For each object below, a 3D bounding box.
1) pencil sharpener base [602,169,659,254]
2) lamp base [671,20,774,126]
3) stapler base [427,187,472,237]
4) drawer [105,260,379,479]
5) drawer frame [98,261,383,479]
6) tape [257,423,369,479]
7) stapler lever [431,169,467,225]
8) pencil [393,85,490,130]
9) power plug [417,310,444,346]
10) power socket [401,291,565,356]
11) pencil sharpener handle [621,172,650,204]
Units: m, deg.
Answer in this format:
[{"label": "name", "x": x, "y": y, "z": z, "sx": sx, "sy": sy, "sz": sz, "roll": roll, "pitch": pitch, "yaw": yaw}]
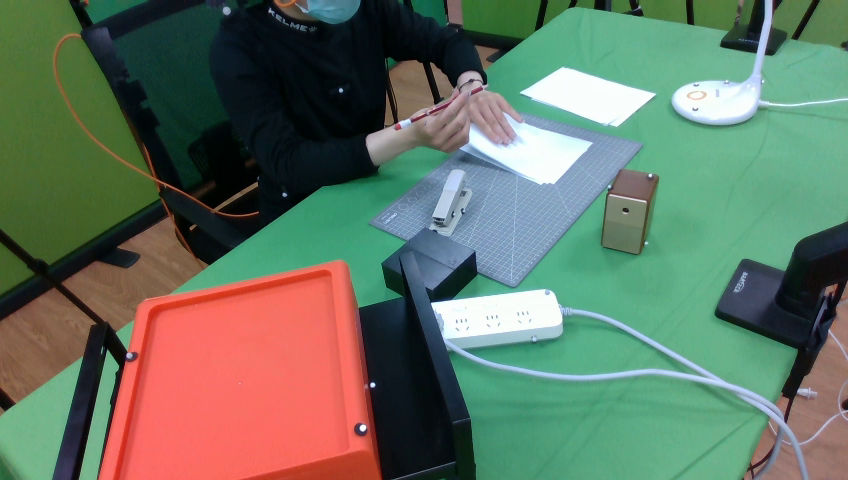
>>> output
[{"label": "pencil sharpener base", "x": 0.312, "y": -0.044, "z": 0.914, "sx": 0.061, "sy": 0.107, "sz": 0.077, "roll": 14, "pitch": 45, "yaw": 24}, {"label": "lamp base", "x": 0.581, "y": -0.332, "z": 1.154, "sx": 0.179, "sy": 0.181, "sz": 0.160, "roll": 2, "pitch": 41, "yaw": 7}, {"label": "stapler base", "x": 0.045, "y": -0.057, "z": 1.028, "sx": 0.041, "sy": 0.024, "sz": 0.130, "roll": 10, "pitch": 44, "yaw": 20}, {"label": "drawer", "x": -0.150, "y": 0.127, "z": 0.525, "sx": 0.195, "sy": 0.073, "sz": 0.210, "roll": -11, "pitch": 41, "yaw": -5}, {"label": "drawer frame", "x": -0.148, "y": 0.129, "z": 0.520, "sx": 0.202, "sy": 0.083, "sz": 0.212, "roll": -12, "pitch": 41, "yaw": -6}, {"label": "tape", "x": -0.121, "y": 0.263, "z": 0.660, "sx": 0.117, "sy": 0.053, "sz": 0.116, "roll": -4, "pitch": 40, "yaw": 4}, {"label": "stapler lever", "x": 0.043, "y": -0.075, "z": 1.010, "sx": 0.026, "sy": 0.040, "sz": 0.118, "roll": 10, "pitch": 45, "yaw": 20}, {"label": "pencil", "x": 0.032, "y": -0.223, "z": 1.003, "sx": 0.195, "sy": 0.012, "sz": 0.012, "roll": -28, "pitch": 45, "yaw": -20}, {"label": "power plug", "x": 0.006, "y": 0.122, "z": 0.785, "sx": 0.035, "sy": 0.053, "sz": 0.072, "roll": -1, "pitch": 40, "yaw": 8}, {"label": "power socket", "x": 0.080, "y": 0.112, "z": 0.822, "sx": 0.227, "sy": 0.033, "sz": 0.072, "roll": -6, "pitch": 41, "yaw": 0}, {"label": "pencil sharpener handle", "x": 0.328, "y": -0.086, "z": 0.941, "sx": 0.036, "sy": 0.068, "sz": 0.030, "roll": 30, "pitch": 49, "yaw": 8}]
